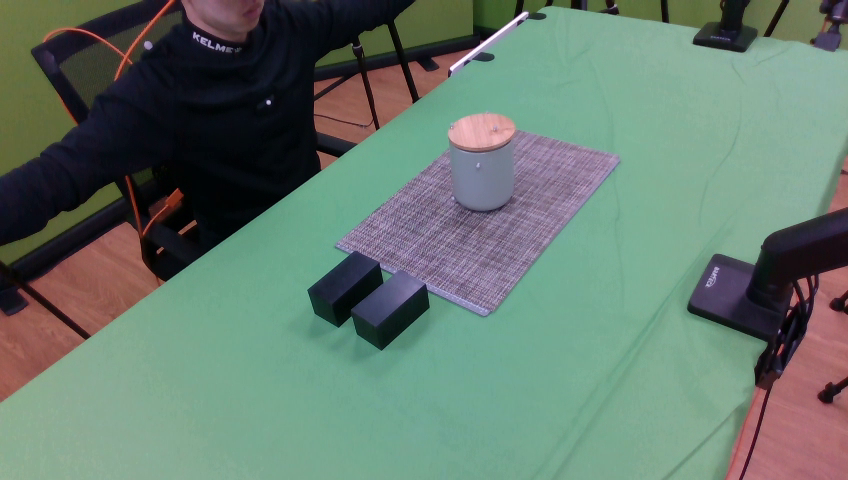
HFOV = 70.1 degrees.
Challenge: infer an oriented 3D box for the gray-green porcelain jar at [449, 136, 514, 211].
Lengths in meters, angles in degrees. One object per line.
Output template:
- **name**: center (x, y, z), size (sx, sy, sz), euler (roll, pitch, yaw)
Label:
- **gray-green porcelain jar**: center (0.098, -0.120, 1.008), size (0.106, 0.127, 0.105), euler (-4, 41, 4)

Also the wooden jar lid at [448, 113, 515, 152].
- **wooden jar lid**: center (0.092, -0.168, 0.967), size (0.108, 0.021, 0.108), euler (-6, 39, 5)
